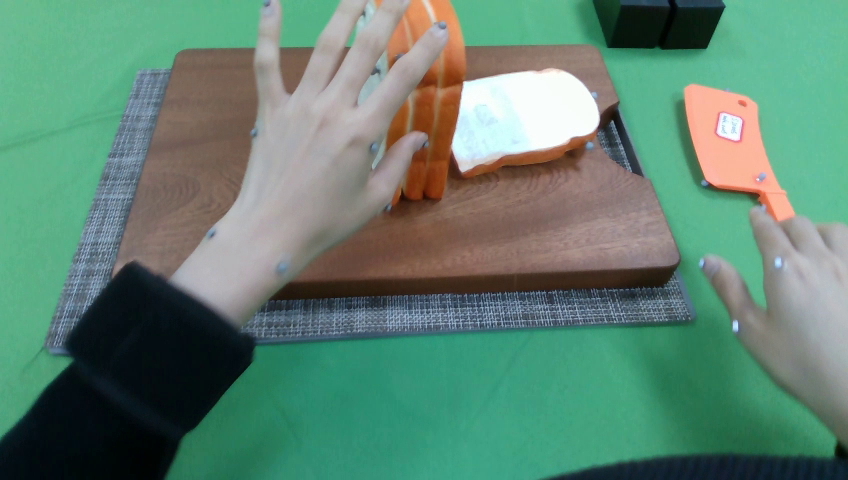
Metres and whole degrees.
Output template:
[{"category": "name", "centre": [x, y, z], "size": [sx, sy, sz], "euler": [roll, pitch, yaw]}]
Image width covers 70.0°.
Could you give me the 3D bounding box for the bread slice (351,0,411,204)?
[{"category": "bread slice", "centre": [-0.033, -0.111, 0.436], "size": [0.018, 0.135, 0.106], "euler": [-8, 47, -16]}]

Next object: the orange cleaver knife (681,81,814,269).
[{"category": "orange cleaver knife", "centre": [0.274, -0.067, 0.528], "size": [0.077, 0.012, 0.209], "euler": [3, 55, -4]}]
